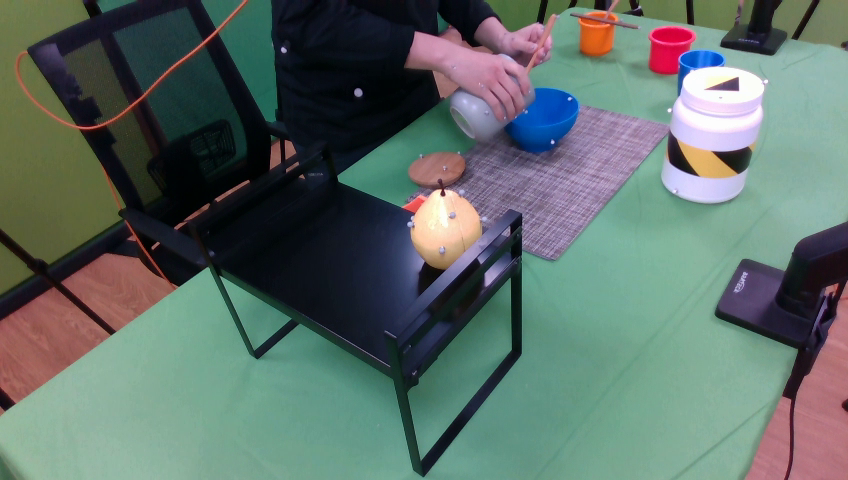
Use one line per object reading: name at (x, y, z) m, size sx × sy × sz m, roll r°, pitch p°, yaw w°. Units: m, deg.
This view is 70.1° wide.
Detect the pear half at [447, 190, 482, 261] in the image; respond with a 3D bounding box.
pear half at (0.046, -0.020, 0.664) m, size 0.031 × 0.088 × 0.070 m, roll -17°, pitch 38°, yaw -9°

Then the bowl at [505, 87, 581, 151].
bowl at (0.221, -0.223, 1.156) m, size 0.151 × 0.077 × 0.150 m, roll -5°, pitch 40°, yaw 4°

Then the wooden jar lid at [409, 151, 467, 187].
wooden jar lid at (0.026, -0.131, 1.124) m, size 0.108 × 0.021 × 0.108 m, roll -8°, pitch 35°, yaw 6°

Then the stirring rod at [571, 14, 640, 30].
stirring rod at (0.419, -0.508, 1.404) m, size 0.174 × 0.006 × 0.014 m, roll 28°, pitch 55°, yaw 35°

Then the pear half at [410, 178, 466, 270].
pear half at (0.011, -0.019, 0.654) m, size 0.056 × 0.110 × 0.076 m, roll -16°, pitch 37°, yaw -9°

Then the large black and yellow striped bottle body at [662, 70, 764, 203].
large black and yellow striped bottle body at (0.464, -0.166, 0.976) m, size 0.131 × 0.185 × 0.130 m, roll -5°, pitch 41°, yaw 5°

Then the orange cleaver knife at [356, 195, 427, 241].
orange cleaver knife at (-0.037, -0.029, 0.973) m, size 0.210 × 0.077 × 0.012 m, roll -8°, pitch 33°, yaw 50°

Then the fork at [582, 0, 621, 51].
fork at (0.446, -0.539, 1.438) m, size 0.207 × 0.019 × 0.028 m, roll -57°, pitch 36°, yaw 12°

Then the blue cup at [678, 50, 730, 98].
blue cup at (0.542, -0.310, 1.194) m, size 0.092 × 0.101 × 0.092 m, roll -6°, pitch 41°, yaw 6°

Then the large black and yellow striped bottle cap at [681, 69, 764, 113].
large black and yellow striped bottle cap at (0.453, -0.229, 0.921) m, size 0.115 × 0.019 × 0.114 m, roll -4°, pitch 39°, yaw 4°

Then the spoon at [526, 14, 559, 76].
spoon at (0.198, -0.324, 1.101) m, size 0.041 × 0.022 × 0.193 m, roll 26°, pitch 87°, yaw 48°

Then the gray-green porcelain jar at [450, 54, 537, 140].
gray-green porcelain jar at (0.118, -0.248, 1.074) m, size 0.126 × 0.106 × 0.105 m, roll -39°, pitch 46°, yaw -4°
